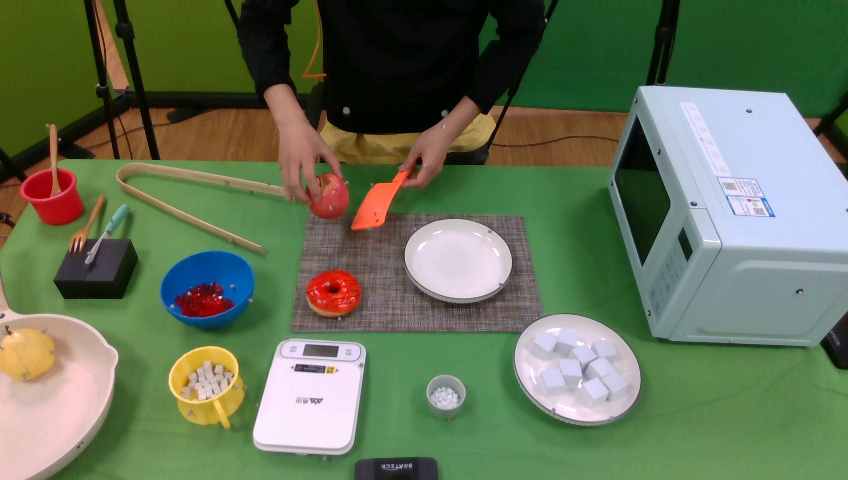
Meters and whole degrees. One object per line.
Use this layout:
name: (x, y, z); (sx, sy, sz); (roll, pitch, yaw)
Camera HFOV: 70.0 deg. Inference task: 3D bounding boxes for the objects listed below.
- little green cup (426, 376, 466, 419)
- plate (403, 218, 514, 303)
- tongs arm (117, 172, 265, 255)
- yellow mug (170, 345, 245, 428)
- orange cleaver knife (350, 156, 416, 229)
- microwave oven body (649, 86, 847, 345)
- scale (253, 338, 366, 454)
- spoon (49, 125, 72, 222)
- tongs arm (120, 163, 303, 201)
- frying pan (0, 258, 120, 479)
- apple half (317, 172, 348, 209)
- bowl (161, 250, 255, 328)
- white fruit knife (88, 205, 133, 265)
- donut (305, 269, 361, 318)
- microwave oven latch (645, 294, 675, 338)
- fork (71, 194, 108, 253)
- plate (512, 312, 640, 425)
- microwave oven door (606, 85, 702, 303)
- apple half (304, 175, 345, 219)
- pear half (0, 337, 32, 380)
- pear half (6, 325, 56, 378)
little green cup: (0.033, 0.248, 0.950); (0.061, 0.039, 0.061); (2, 46, -2)
plate: (0.064, 0.042, 1.146); (0.209, 0.038, 0.208); (2, 46, -2)
tongs arm: (-0.473, -0.054, 1.211); (0.386, 0.028, 0.028); (24, 57, 17)
yellow mug: (-0.322, 0.230, 0.922); (0.100, 0.064, 0.130); (-24, 53, -25)
orange cleaver knife: (-0.080, -0.097, 1.210); (0.077, 0.012, 0.210); (5, 49, 28)
microwave oven body: (0.567, -0.053, 1.118); (0.326, 0.261, 0.439); (2, 45, -1)
scale: (-0.175, 0.236, 0.951); (0.149, 0.032, 0.199); (4, 45, 0)
spoon: (-0.718, -0.131, 1.189); (0.041, 0.021, 0.193); (-4, 90, -6)
tongs arm: (-0.444, -0.114, 1.266); (0.384, 0.026, 0.050); (12, 51, 7)
frying pan: (-0.647, 0.164, 0.936); (0.307, 0.103, 0.485); (-19, 58, -22)
apple half: (-0.163, -0.096, 1.130); (0.081, 0.082, 0.033); (36, 63, 27)
bowl: (-0.362, 0.098, 1.040); (0.151, 0.077, 0.150); (2, 45, -2)
white fruit knife: (-0.584, -0.013, 1.129); (0.016, 0.027, 0.206); (0, 32, -5)
donut: (-0.160, 0.094, 1.075); (0.099, 0.048, 0.098); (3, 45, -3)
microwave oven latch: (0.411, 0.134, 1.061); (0.030, 0.029, 0.078); (3, 45, 0)
fork: (-0.634, -0.036, 1.158); (0.028, 0.019, 0.206); (-8, 32, -8)
plate: (0.246, 0.213, 0.999); (0.208, 0.039, 0.206); (2, 46, -2)
microwave oven door: (0.423, -0.094, 1.140); (0.039, 0.245, 0.353); (2, 46, -1)
apple half: (-0.189, -0.073, 1.114); (0.080, 0.075, 0.053); (35, 62, 28)
pear half: (-0.631, 0.184, 0.921); (0.070, 0.088, 0.031); (29, 49, 19)
pear half: (-0.608, 0.158, 0.935); (0.076, 0.110, 0.056); (31, 51, 20)
